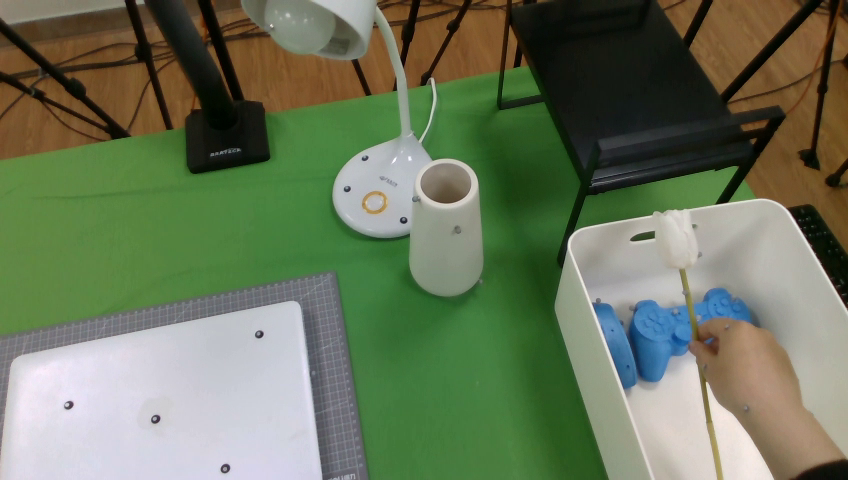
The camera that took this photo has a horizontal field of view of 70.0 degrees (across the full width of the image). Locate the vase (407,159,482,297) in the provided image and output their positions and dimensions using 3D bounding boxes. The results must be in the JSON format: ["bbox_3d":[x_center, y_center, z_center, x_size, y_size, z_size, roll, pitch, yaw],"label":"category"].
[{"bbox_3d":[0.023,-0.011,0.735,0.098,0.202,0.097,-1,58,2],"label":"vase"}]

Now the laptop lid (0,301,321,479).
[{"bbox_3d":[-0.307,0.208,0.698,0.357,0.013,0.239,-10,61,-5],"label":"laptop lid"}]

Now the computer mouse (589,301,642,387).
[{"bbox_3d":[0.215,0.123,0.736,0.063,0.041,0.116,-13,50,-4],"label":"computer mouse"}]

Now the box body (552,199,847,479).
[{"bbox_3d":[0.307,0.160,0.649,0.254,0.162,0.360,-10,59,-4],"label":"box body"}]

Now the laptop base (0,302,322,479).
[{"bbox_3d":[-0.308,0.212,0.709,0.355,0.023,0.233,-11,63,-6],"label":"laptop base"}]

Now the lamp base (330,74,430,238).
[{"bbox_3d":[-0.052,-0.122,0.815,0.160,0.182,0.178,18,58,12],"label":"lamp base"}]

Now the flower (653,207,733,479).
[{"bbox_3d":[0.283,0.143,0.603,0.038,0.044,0.362,-12,93,26],"label":"flower"}]

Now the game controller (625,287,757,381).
[{"bbox_3d":[0.324,0.111,0.741,0.155,0.052,0.096,-8,57,-5],"label":"game controller"}]

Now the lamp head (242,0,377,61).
[{"bbox_3d":[-0.086,-0.234,0.533,0.112,0.113,0.122,15,78,10],"label":"lamp head"}]
